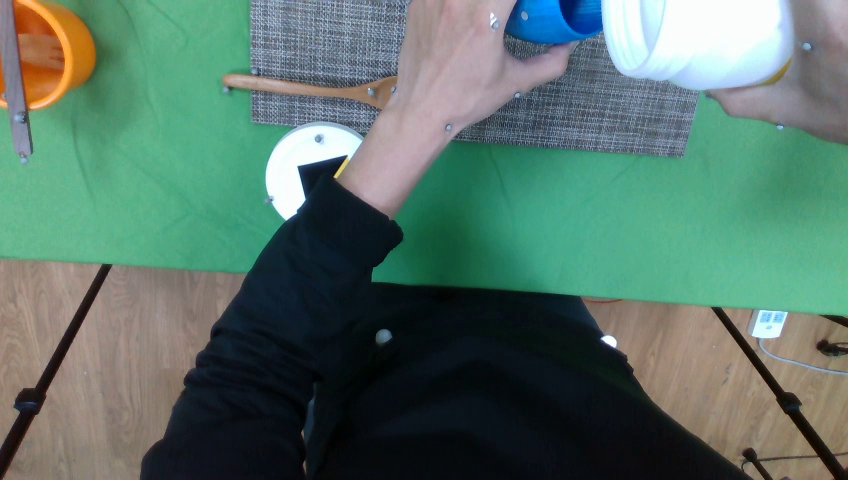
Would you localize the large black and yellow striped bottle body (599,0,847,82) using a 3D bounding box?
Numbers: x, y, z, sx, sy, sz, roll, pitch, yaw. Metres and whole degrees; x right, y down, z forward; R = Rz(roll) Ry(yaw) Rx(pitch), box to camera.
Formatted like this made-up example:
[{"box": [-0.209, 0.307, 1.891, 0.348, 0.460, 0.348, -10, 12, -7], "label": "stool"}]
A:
[{"box": [0.212, -0.167, 0.368, 0.184, 0.129, 0.131, -6, 113, -2], "label": "large black and yellow striped bottle body"}]

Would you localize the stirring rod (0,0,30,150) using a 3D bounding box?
[{"box": [-0.324, -0.157, 0.466, 0.014, 0.005, 0.177, 2, 112, -8], "label": "stirring rod"}]

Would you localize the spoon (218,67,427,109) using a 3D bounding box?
[{"box": [-0.094, -0.149, 0.568, 0.194, 0.021, 0.042, 2, 132, -9], "label": "spoon"}]

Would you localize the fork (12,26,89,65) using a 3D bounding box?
[{"box": [-0.366, -0.163, 0.461, 0.208, 0.018, 0.028, -5, 128, -53], "label": "fork"}]

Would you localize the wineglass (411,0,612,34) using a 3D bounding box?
[{"box": [0.061, -0.196, 0.467, 0.074, 0.170, 0.074, -12, 112, -30], "label": "wineglass"}]

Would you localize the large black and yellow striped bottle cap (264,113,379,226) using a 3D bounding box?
[{"box": [-0.102, -0.069, 0.607, 0.115, 0.018, 0.116, -3, 116, -6], "label": "large black and yellow striped bottle cap"}]
